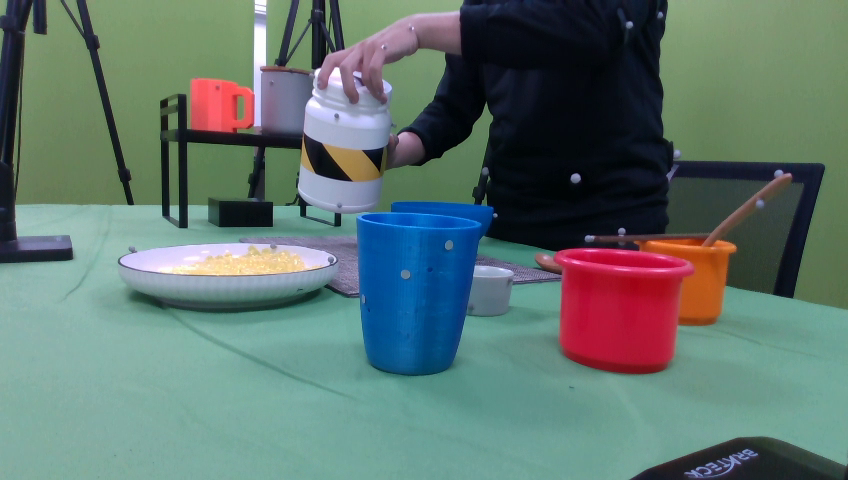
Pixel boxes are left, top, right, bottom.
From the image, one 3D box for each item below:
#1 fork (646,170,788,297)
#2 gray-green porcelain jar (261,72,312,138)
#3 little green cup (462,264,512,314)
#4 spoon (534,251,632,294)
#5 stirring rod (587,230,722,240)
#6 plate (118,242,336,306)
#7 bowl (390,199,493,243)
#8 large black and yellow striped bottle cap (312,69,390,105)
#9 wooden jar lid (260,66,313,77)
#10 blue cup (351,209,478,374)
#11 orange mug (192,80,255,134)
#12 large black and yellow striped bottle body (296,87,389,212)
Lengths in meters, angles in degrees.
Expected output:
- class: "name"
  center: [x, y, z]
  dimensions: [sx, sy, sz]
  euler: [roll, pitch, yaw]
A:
- class: "fork"
  center: [0.256, 0.004, 0.543]
  dimensions: [0.028, 0.018, 0.207]
  euler: [3, -36, -10]
- class: "gray-green porcelain jar"
  center: [-0.284, -0.276, 1.253]
  dimensions: [0.106, 0.126, 0.106]
  euler: [2, 8, 0]
- class: "little green cup"
  center: [0.053, 0.047, 0.580]
  dimensions: [0.061, 0.038, 0.061]
  euler: [3, 8, 0]
- class: "spoon"
  center: [0.194, 0.038, 0.753]
  dimensions: [0.042, 0.021, 0.193]
  euler: [14, 2, -20]
- class: "stirring rod"
  center: [0.227, -0.005, 0.585]
  dimensions: [0.177, 0.006, 0.014]
  euler: [-1, 7, -28]
- class: "plate"
  center: [-0.194, 0.033, 0.615]
  dimensions: [0.209, 0.038, 0.209]
  euler: [2, 7, 0]
- class: "bowl"
  center: [0.023, -0.016, 0.874]
  dimensions: [0.151, 0.077, 0.151]
  euler: [3, 7, 0]
- class: "large black and yellow striped bottle cap"
  center: [-0.107, -0.227, 0.892]
  dimensions: [0.115, 0.019, 0.115]
  euler: [10, 28, -5]
- class: "wooden jar lid"
  center: [-0.283, -0.339, 1.245]
  dimensions: [0.108, 0.020, 0.108]
  euler: [6, 9, -1]
- class: "blue cup"
  center: [-0.009, 0.034, 0.414]
  dimensions: [0.093, 0.100, 0.092]
  euler: [4, 9, 0]
- class: "orange mug"
  center: [-0.388, -0.257, 1.173]
  dimensions: [0.126, 0.100, 0.083]
  euler: [-1, 7, 9]
- class: "large black and yellow striped bottle body"
  center: [-0.124, -0.149, 0.932]
  dimensions: [0.131, 0.184, 0.130]
  euler: [9, 26, -4]
